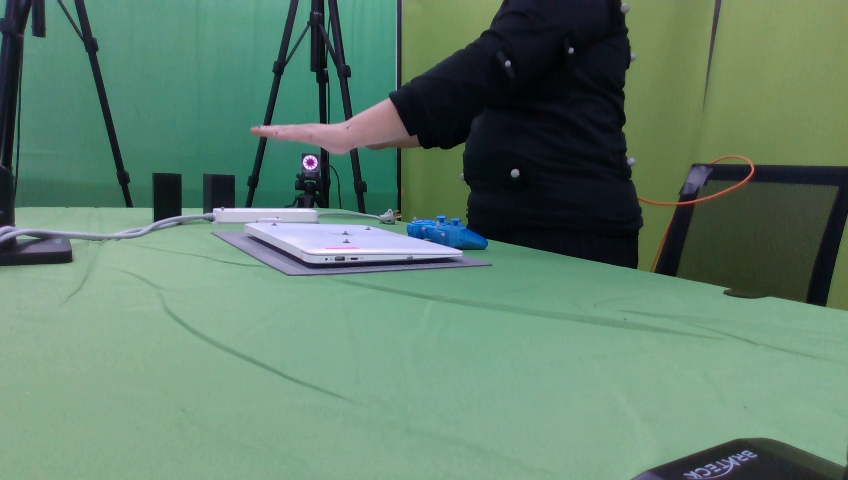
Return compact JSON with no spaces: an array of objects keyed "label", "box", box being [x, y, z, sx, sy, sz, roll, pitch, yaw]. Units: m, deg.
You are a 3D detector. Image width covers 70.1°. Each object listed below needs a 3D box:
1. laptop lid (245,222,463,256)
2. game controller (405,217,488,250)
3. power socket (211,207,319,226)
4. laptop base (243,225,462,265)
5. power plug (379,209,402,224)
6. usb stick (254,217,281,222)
[{"label":"laptop lid","box":[-0.126,-0.005,0.951,0.243,0.013,0.355,1,7,-28]},{"label":"game controller","box":[0.034,-0.013,1.067,0.097,0.051,0.154,-6,10,-29]},{"label":"power socket","box":[-0.335,-0.051,1.282,0.228,0.032,0.072,-2,10,-29]},{"label":"laptop base","box":[-0.129,0.007,0.952,0.237,0.023,0.352,2,6,-30]},{"label":"power plug","box":[-0.081,-0.061,1.421,0.053,0.035,0.072,-16,22,-6]},{"label":"usb stick","box":[-0.296,-0.028,1.114,0.059,0.027,0.021,-3,13,-31]}]
